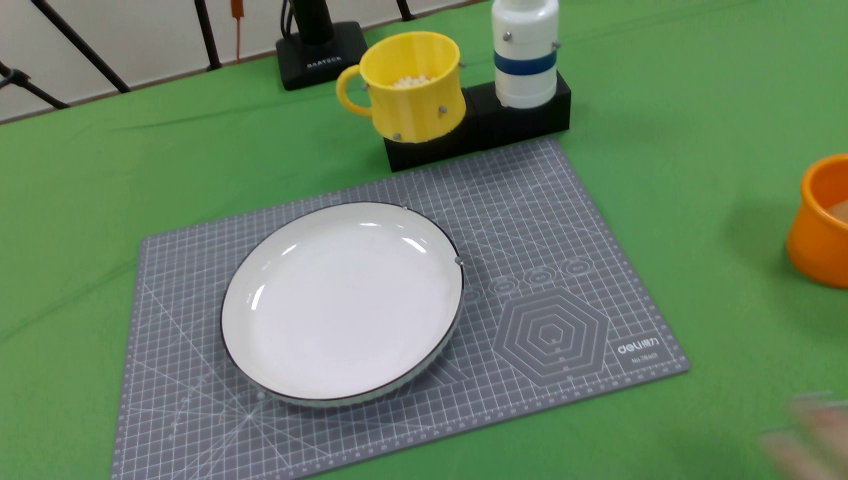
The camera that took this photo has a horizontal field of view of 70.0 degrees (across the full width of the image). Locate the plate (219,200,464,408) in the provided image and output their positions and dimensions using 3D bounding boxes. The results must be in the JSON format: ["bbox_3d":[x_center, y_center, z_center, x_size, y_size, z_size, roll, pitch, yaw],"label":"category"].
[{"bbox_3d":[-0.067,0.052,0.520,0.207,0.039,0.205,-5,48,6],"label":"plate"}]

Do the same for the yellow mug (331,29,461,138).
[{"bbox_3d":[-0.031,-0.157,0.613,0.131,0.064,0.099,-5,48,7],"label":"yellow mug"}]

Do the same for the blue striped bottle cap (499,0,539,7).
[{"bbox_3d":[0.087,-0.232,0.551,0.044,0.021,0.044,-7,49,8],"label":"blue striped bottle cap"}]

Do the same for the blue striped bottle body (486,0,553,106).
[{"bbox_3d":[0.093,-0.198,0.589,0.063,0.122,0.062,-5,49,6],"label":"blue striped bottle body"}]

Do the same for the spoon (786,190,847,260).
[{"bbox_3d":[0.361,-0.058,0.463,0.194,0.022,0.041,-48,43,22],"label":"spoon"}]
